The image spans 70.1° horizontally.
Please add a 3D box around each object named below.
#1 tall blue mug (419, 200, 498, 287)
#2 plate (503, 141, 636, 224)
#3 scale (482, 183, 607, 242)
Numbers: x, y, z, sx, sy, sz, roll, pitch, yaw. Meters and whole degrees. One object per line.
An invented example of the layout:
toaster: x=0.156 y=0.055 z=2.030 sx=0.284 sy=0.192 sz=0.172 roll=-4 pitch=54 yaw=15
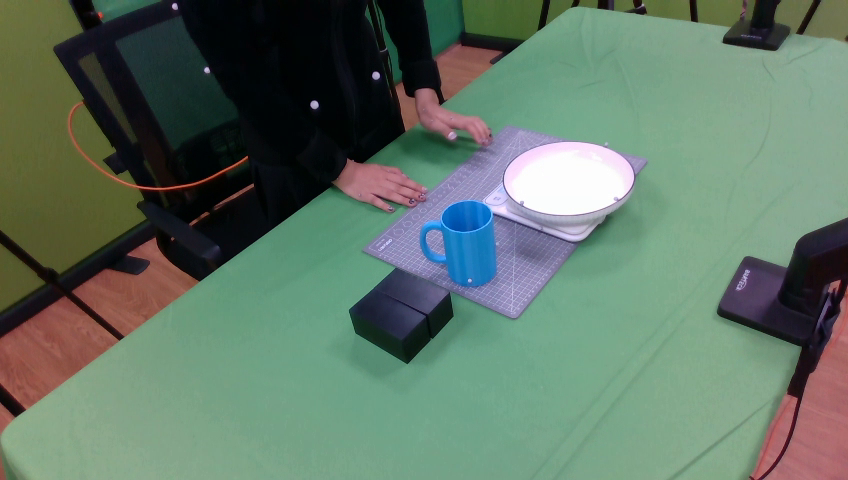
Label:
tall blue mug: x=0.053 y=0.010 z=0.889 sx=0.107 sy=0.108 sz=0.077 roll=-16 pitch=41 yaw=-7
plate: x=0.233 y=-0.091 z=0.983 sx=0.209 sy=0.038 sz=0.208 roll=-5 pitch=41 yaw=5
scale: x=0.211 y=-0.070 z=1.014 sx=0.199 sy=0.032 sz=0.149 roll=23 pitch=49 yaw=33
